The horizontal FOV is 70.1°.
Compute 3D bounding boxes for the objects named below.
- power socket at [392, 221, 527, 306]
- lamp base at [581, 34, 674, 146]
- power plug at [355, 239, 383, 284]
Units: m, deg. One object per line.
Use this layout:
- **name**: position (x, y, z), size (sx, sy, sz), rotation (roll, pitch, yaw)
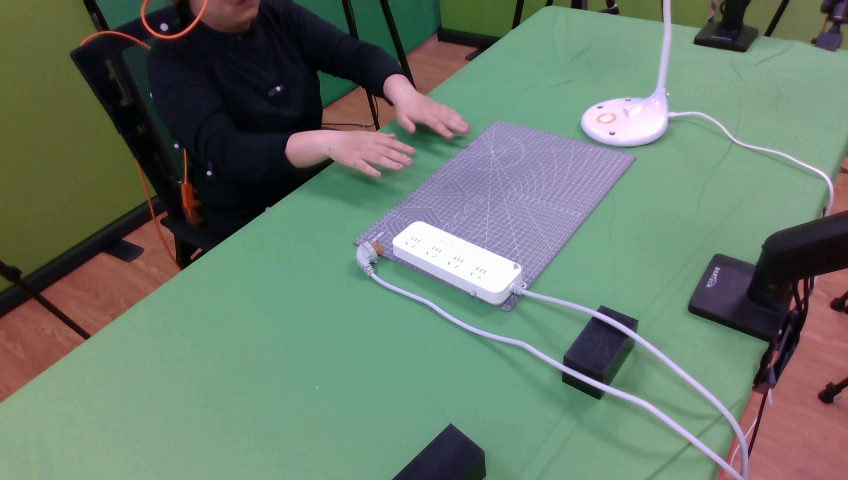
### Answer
- **power socket**: position (0.046, 0.031, 0.912), size (0.225, 0.033, 0.072), rotation (25, 51, 32)
- **lamp base**: position (0.392, -0.291, 1.129), size (0.180, 0.181, 0.159), rotation (-11, 41, -8)
- **power plug**: position (-0.078, 0.033, 0.947), size (0.053, 0.035, 0.072), rotation (-33, 82, -22)
